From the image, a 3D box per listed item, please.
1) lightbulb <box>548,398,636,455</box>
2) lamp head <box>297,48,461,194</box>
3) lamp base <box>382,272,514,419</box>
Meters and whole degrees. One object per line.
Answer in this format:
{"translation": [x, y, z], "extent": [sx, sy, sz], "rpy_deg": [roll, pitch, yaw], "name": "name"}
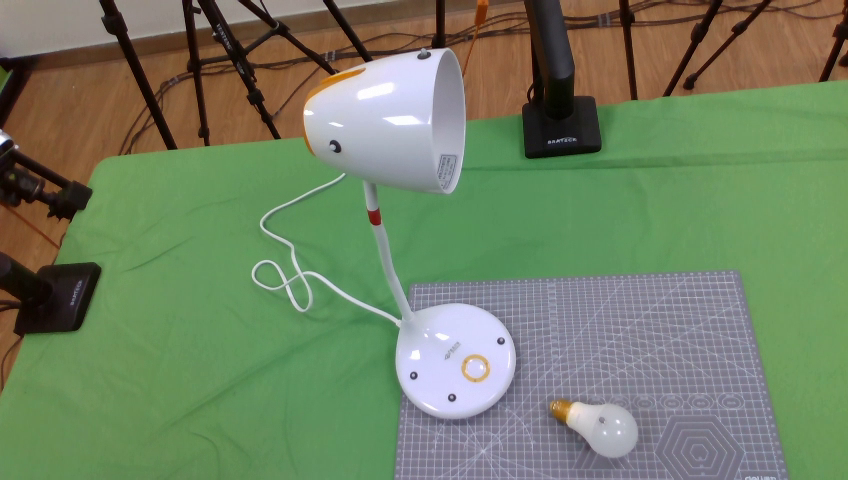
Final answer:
{"translation": [0.196, 0.214, 0.717], "extent": [0.107, 0.060, 0.059], "rpy_deg": [14, 61, 39], "name": "lightbulb"}
{"translation": [-0.036, -0.090, 0.488], "extent": [0.122, 0.113, 0.111], "rpy_deg": [-2, 57, 19], "name": "lamp head"}
{"translation": [0.013, 0.112, 0.743], "extent": [0.178, 0.182, 0.160], "rpy_deg": [20, 63, 26], "name": "lamp base"}
